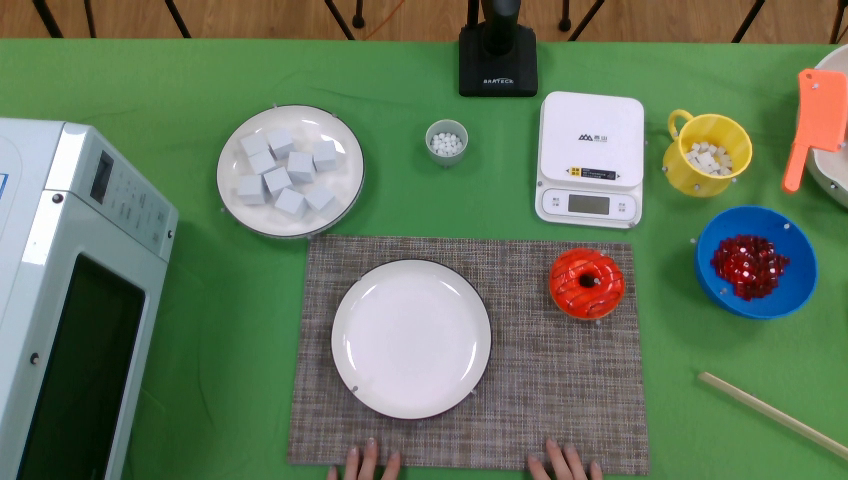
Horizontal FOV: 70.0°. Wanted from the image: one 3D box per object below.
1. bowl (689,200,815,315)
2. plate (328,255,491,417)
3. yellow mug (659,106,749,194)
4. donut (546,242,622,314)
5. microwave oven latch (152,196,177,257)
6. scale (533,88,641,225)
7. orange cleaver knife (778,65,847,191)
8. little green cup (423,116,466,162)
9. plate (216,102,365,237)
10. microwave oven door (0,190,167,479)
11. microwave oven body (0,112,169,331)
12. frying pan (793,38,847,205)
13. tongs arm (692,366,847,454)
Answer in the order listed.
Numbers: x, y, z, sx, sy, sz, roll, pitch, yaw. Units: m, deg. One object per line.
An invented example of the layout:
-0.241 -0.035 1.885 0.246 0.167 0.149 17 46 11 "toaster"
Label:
0.414 0.032 0.795 0.151 0.077 0.150 0 72 1 "bowl"
-0.018 0.122 0.785 0.209 0.038 0.207 0 72 1 "plate"
0.385 -0.136 0.858 0.100 0.064 0.130 -30 72 -8 "yellow mug"
0.211 0.051 0.804 0.099 0.048 0.098 -1 72 3 "donut"
-0.358 -0.019 0.821 0.030 0.029 0.078 5 72 2 "microwave oven latch"
0.237 -0.123 0.873 0.148 0.032 0.199 6 72 3 "scale"
0.530 -0.155 0.824 0.077 0.012 0.210 19 73 8 "orange cleaver knife"
0.029 -0.144 0.879 0.061 0.039 0.061 0 71 1 "little green cup"
-0.187 -0.099 0.866 0.208 0.039 0.206 0 71 1 "plate"
-0.379 0.153 0.655 0.039 0.245 0.353 4 71 2 "microwave oven door"
-0.521 0.105 0.678 0.326 0.261 0.439 4 72 2 "microwave oven body"
0.706 -0.071 0.812 0.307 0.103 0.483 -24 65 -6 "frying pan"
0.511 0.262 0.742 0.386 0.028 0.028 30 66 11 "tongs arm"
